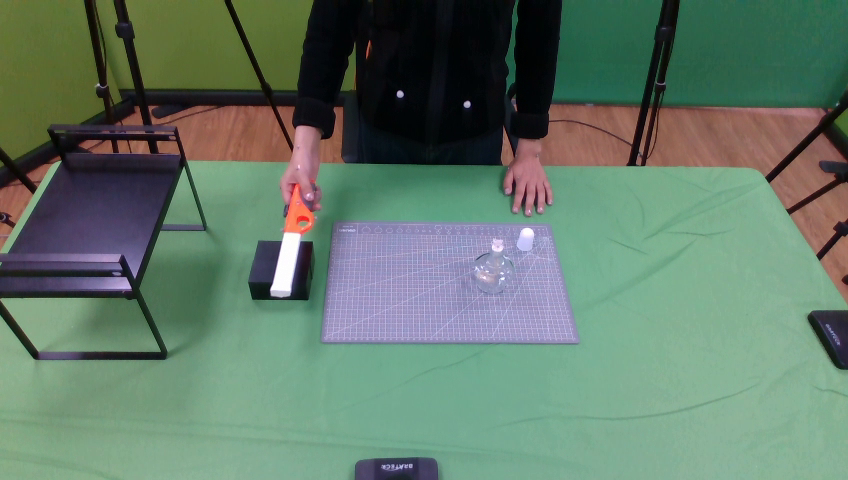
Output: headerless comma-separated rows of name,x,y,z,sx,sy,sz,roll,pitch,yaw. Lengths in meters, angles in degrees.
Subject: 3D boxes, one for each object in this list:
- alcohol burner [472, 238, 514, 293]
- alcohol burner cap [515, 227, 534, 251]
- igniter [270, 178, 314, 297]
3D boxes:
alcohol burner,0.128,0.041,1.101,0.078,0.120,0.077,1,47,-1
alcohol burner cap,0.202,-0.005,1.201,0.034,0.048,0.033,3,46,-3
igniter,-0.233,-0.014,1.079,0.057,0.025,0.275,5,48,-5
